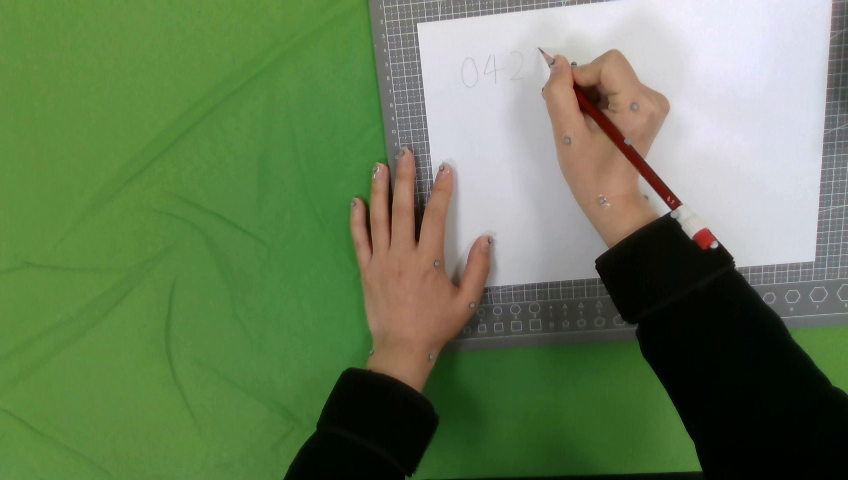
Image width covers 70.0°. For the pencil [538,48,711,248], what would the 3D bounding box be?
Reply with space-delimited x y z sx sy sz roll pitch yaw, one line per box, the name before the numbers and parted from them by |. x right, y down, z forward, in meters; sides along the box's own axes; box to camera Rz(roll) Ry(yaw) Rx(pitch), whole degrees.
pencil | 0.124 -0.070 0.402 0.012 0.012 0.192 -35 59 12
